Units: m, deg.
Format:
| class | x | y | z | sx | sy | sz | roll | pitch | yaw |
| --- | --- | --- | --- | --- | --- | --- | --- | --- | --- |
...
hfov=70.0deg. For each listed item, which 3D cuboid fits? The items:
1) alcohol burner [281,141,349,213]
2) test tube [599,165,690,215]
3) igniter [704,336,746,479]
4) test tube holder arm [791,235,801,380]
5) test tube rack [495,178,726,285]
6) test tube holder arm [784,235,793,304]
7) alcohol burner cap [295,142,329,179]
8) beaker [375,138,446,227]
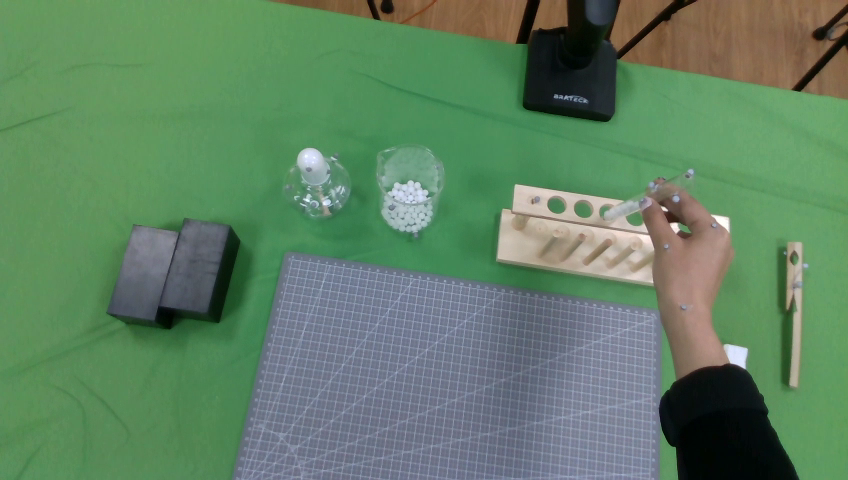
| class | x | y | z | sx | sy | sz | roll | pitch | yaw |
| --- | --- | --- | --- | --- | --- | --- | --- | --- | --- |
| alcohol burner | -0.124 | -0.076 | 0.683 | 0.078 | 0.120 | 0.077 | 2 | 70 | -4 |
| test tube | 0.216 | -0.046 | 0.610 | 0.017 | 0.150 | 0.017 | 2 | 79 | -11 |
| igniter | 0.334 | 0.243 | 0.664 | 0.057 | 0.025 | 0.275 | 13 | 71 | -11 |
| test tube holder arm | 0.447 | 0.078 | 0.729 | 0.013 | 0.015 | 0.177 | -3 | 68 | 32 |
| test tube rack | 0.211 | -0.008 | 0.704 | 0.242 | 0.085 | 0.066 | 9 | 71 | -2 |
| test tube holder arm | 0.449 | 0.036 | 0.746 | 0.010 | 0.015 | 0.087 | -1 | 69 | 33 |
| alcohol burner cap | -0.121 | -0.087 | 0.649 | 0.034 | 0.048 | 0.033 | 0 | 77 | -1 |
| beaker | -0.021 | -0.063 | 0.695 | 0.084 | 0.101 | 0.074 | 36 | 72 | 8 |
